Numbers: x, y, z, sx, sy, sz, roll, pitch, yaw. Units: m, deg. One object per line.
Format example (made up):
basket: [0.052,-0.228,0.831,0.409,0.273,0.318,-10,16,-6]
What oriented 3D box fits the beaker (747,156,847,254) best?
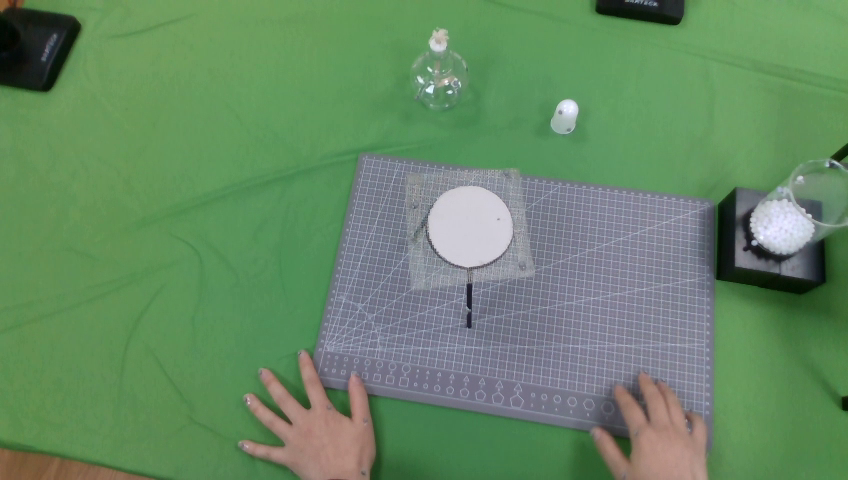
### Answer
beaker: [0.400,-0.034,0.645,0.074,0.101,0.083,19,71,8]

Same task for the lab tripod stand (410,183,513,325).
lab tripod stand: [0.047,0.009,0.666,0.148,0.132,0.147,0,72,-1]

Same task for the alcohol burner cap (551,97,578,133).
alcohol burner cap: [0.183,-0.162,0.776,0.034,0.048,0.033,-1,70,4]

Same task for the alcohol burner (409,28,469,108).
alcohol burner: [0.019,-0.221,0.760,0.078,0.120,0.077,-1,68,2]

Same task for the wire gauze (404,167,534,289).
wire gauze: [0.042,-0.016,0.603,0.121,0.011,0.124,-3,72,-2]
